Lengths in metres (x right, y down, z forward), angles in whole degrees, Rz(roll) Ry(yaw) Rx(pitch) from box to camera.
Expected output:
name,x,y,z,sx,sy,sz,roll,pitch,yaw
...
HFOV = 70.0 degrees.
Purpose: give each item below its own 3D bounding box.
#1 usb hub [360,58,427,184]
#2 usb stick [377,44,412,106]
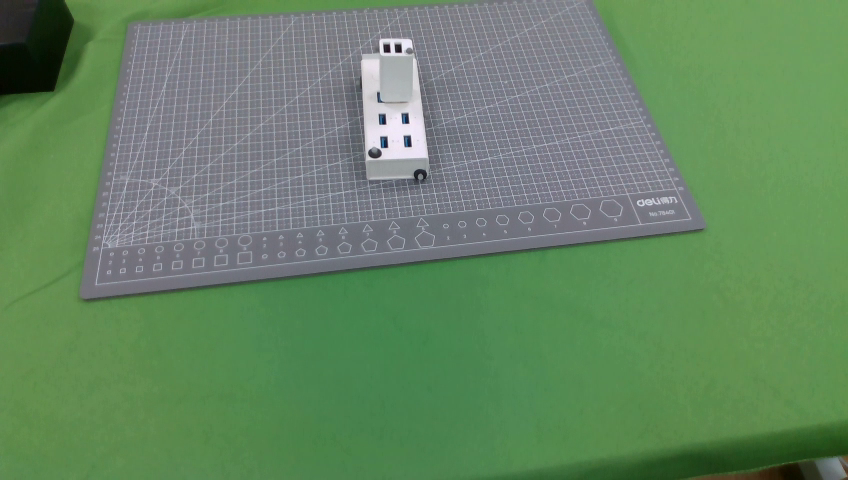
name,x,y,z,sx,sy,sz,roll,pitch,yaw
usb hub,-0.027,-0.101,0.499,0.049,0.025,0.124,-3,55,-4
usb stick,-0.023,-0.124,0.480,0.027,0.059,0.021,-6,55,-4
